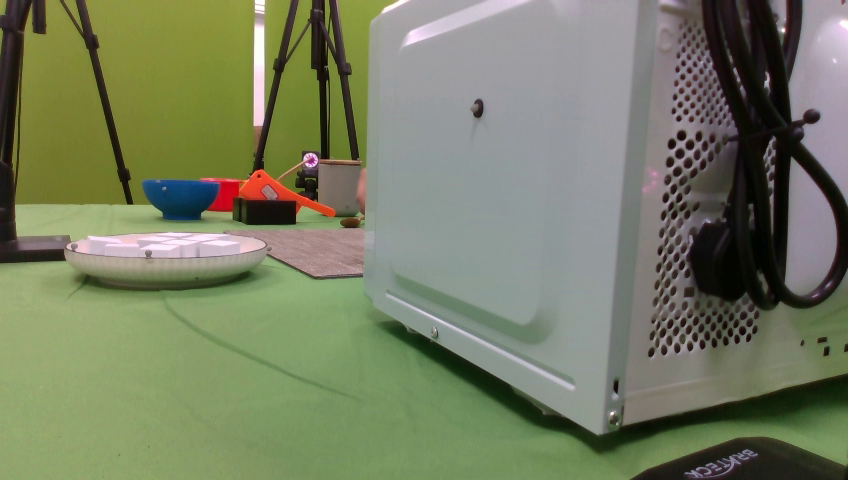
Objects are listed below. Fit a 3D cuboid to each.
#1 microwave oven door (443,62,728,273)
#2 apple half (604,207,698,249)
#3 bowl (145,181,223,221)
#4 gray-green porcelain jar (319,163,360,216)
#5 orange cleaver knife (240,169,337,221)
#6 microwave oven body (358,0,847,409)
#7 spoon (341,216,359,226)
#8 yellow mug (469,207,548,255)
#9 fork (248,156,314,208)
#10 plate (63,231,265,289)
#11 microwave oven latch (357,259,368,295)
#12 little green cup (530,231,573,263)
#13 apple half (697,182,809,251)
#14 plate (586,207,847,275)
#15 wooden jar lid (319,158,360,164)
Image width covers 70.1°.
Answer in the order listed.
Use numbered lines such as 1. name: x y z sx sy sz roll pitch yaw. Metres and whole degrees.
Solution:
1. microwave oven door: 0.188 -0.097 0.784 0.354 0.243 0.039 6 9 31
2. apple half: 0.207 -0.013 0.543 0.081 0.033 0.081 4 10 0
3. bowl: -0.499 -0.082 1.261 0.151 0.077 0.151 2 8 0
4. gray-green porcelain jar: -0.205 -0.126 1.490 0.106 0.126 0.106 1 8 0
5. orange cleaver knife: -0.287 -0.082 1.298 0.212 0.077 0.012 25 -2 -31
6. microwave oven body: 0.210 -0.051 0.471 0.444 0.260 0.324 -1 7 -28
7. spoon: -0.132 -0.048 1.305 0.041 0.021 0.194 -15 4 14
8. yellow mug: 0.136 -0.015 0.951 0.131 0.064 0.099 2 6 -21
9. fork: -0.360 -0.147 1.523 0.207 0.019 0.028 -43 18 -6
10. plate: -0.288 0.021 0.687 0.208 0.039 0.207 2 8 0
11. microwave oven latch: -0.019 0.031 0.529 0.079 0.029 0.030 -1 7 -26
12. little green cup: 0.184 0.010 0.879 0.061 0.038 0.061 2 9 0
13. apple half: 0.280 -0.021 0.512 0.075 0.053 0.080 12 -8 -18
14. plate: 0.245 -0.002 0.516 0.209 0.038 0.209 2 7 0
15. wooden jar lid: -0.203 -0.189 1.482 0.108 0.020 0.108 2 10 0
